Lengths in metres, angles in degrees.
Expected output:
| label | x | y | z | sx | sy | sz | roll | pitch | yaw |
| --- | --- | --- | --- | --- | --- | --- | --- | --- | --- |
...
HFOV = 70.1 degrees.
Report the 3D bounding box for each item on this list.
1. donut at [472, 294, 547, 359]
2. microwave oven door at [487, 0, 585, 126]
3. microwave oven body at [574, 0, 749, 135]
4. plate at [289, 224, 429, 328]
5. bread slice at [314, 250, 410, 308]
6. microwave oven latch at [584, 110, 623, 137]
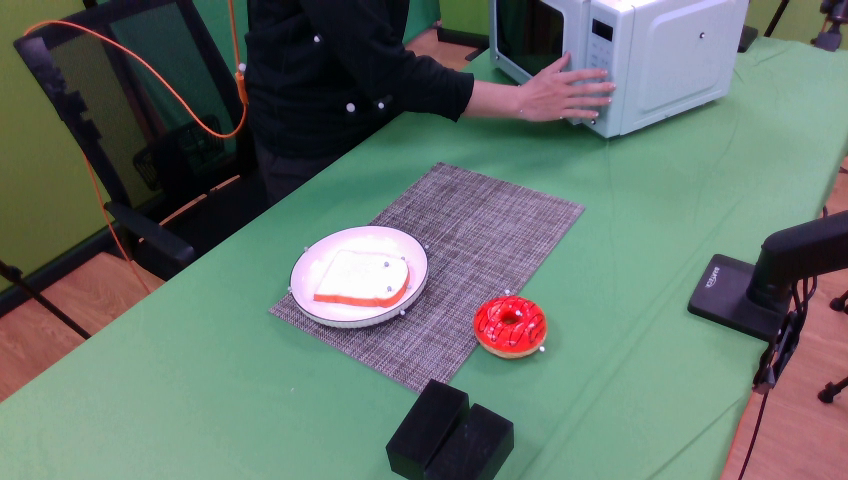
| label | x | y | z | sx | sy | sz | roll | pitch | yaw |
| --- | --- | --- | --- | --- | --- | --- | --- | --- | --- |
| donut | 0.114 | 0.114 | 0.803 | 0.099 | 0.048 | 0.098 | 0 | 40 | 1 |
| microwave oven door | 0.224 | -0.416 | 1.229 | 0.039 | 0.245 | 0.352 | -19 | 42 | -14 |
| microwave oven body | 0.382 | -0.445 | 1.246 | 0.327 | 0.261 | 0.437 | -22 | 42 | -16 |
| plate | -0.094 | 0.055 | 0.902 | 0.207 | 0.039 | 0.206 | -4 | 41 | 4 |
| bread slice | -0.087 | 0.056 | 0.900 | 0.131 | 0.019 | 0.104 | 5 | 43 | 14 |
| microwave oven latch | 0.337 | -0.222 | 1.143 | 0.030 | 0.029 | 0.078 | -21 | 42 | -14 |
